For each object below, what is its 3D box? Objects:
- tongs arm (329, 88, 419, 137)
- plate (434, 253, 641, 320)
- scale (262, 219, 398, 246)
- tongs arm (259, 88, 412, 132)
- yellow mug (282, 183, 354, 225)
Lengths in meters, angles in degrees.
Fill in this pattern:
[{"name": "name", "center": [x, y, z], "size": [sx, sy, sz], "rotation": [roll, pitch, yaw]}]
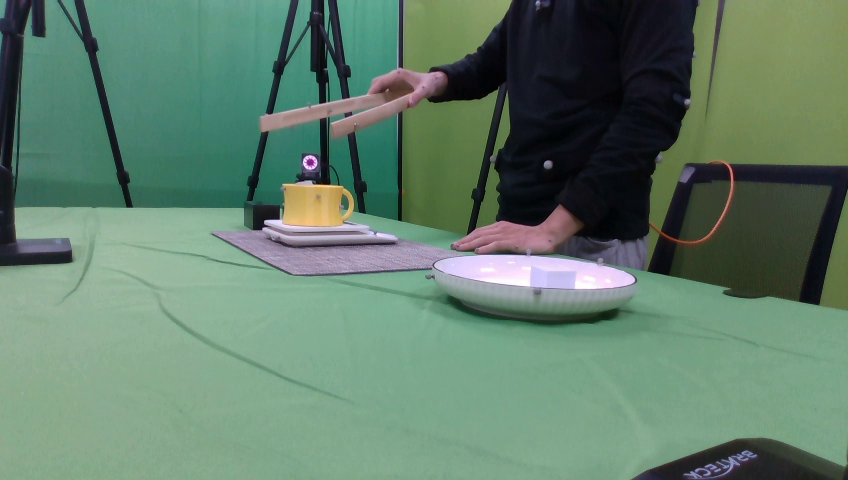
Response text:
[{"name": "tongs arm", "center": [-0.076, -0.232, 1.070], "size": [0.028, 0.028, 0.388], "rotation": [1, 21, 21]}, {"name": "plate", "center": [0.114, 0.047, 0.626], "size": [0.208, 0.039, 0.207], "rotation": [2, 7, 0]}, {"name": "scale", "center": [-0.160, -0.016, 1.028], "size": [0.202, 0.031, 0.148], "rotation": [-1, 9, -32]}, {"name": "tongs arm", "center": [-0.142, -0.242, 1.101], "size": [0.050, 0.026, 0.386], "rotation": [9, 23, 29]}, {"name": "yellow mug", "center": [-0.172, -0.061, 1.009], "size": [0.131, 0.064, 0.099], "rotation": [-2, 7, -41]}]
